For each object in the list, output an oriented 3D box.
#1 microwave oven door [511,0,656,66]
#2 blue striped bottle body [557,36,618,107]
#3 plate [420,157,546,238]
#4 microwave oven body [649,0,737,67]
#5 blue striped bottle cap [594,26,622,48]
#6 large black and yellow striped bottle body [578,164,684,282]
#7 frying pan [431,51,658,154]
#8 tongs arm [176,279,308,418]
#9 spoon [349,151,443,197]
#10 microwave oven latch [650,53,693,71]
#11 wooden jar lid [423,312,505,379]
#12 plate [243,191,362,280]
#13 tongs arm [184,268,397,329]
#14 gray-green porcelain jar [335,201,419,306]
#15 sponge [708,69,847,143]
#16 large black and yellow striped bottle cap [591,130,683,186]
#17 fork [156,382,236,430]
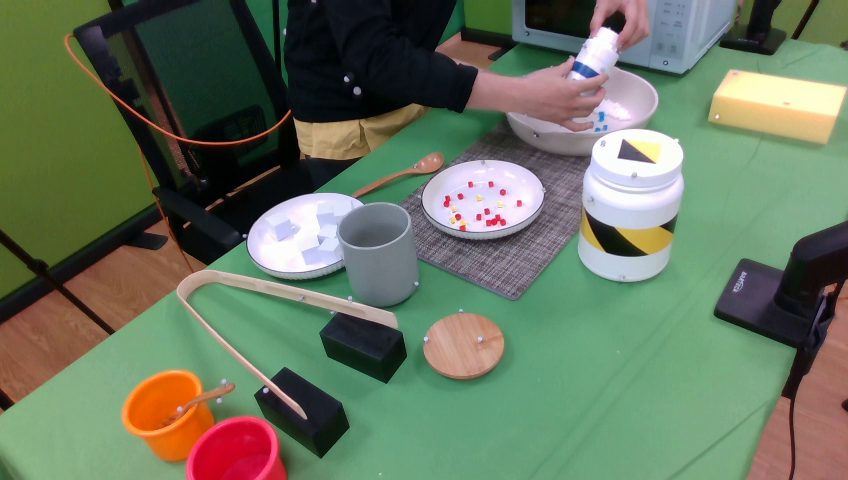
[{"bbox_3d":[0.351,-0.540,1.349,0.353,0.245,0.039,24,50,31],"label":"microwave oven door"},{"bbox_3d":[0.283,-0.293,1.022,0.063,0.121,0.063,27,16,-8],"label":"blue striped bottle body"},{"bbox_3d":[0.099,-0.067,1.017,0.209,0.038,0.208,-4,40,4],"label":"plate"},{"bbox_3d":[0.475,-0.602,1.411,0.438,0.261,0.327,23,50,32],"label":"microwave oven body"},{"bbox_3d":[0.307,-0.337,1.009,0.045,0.020,0.044,31,16,-9],"label":"blue striped bottle cap"},{"bbox_3d":[0.292,-0.046,0.859,0.131,0.185,0.130,-4,41,4],"label":"large black and yellow striped bottle body"},{"bbox_3d":[0.216,-0.302,1.223,0.484,0.103,0.308,29,50,24],"label":"frying pan"},{"bbox_3d":[-0.255,0.132,0.801,0.028,0.028,0.384,-41,40,-23],"label":"tongs arm"},{"bbox_3d":[-0.051,-0.122,1.120,0.194,0.022,0.041,-22,59,-18],"label":"spoon"},{"bbox_3d":[0.531,-0.386,1.301,0.078,0.029,0.030,26,51,33],"label":"microwave oven latch"},{"bbox_3d":[0.053,0.142,0.800,0.108,0.021,0.108,-5,39,4],"label":"wooden jar lid"},{"bbox_3d":[-0.188,-0.005,0.992,0.207,0.039,0.206,-4,40,3],"label":"plate"},{"bbox_3d":[-0.202,0.084,0.848,0.382,0.027,0.051,11,44,35],"label":"tongs arm"},{"bbox_3d":[-0.064,0.024,0.872,0.106,0.127,0.105,-4,41,4],"label":"gray-green porcelain jar"},{"bbox_3d":[0.663,-0.256,1.142,0.205,0.061,0.118,18,47,28],"label":"sponge"},{"bbox_3d":[0.282,-0.111,0.803,0.115,0.019,0.114,-3,41,3],"label":"large black and yellow striped bottle cap"},{"bbox_3d":[-0.262,0.189,0.690,0.018,0.206,0.028,48,43,-7],"label":"fork"}]
